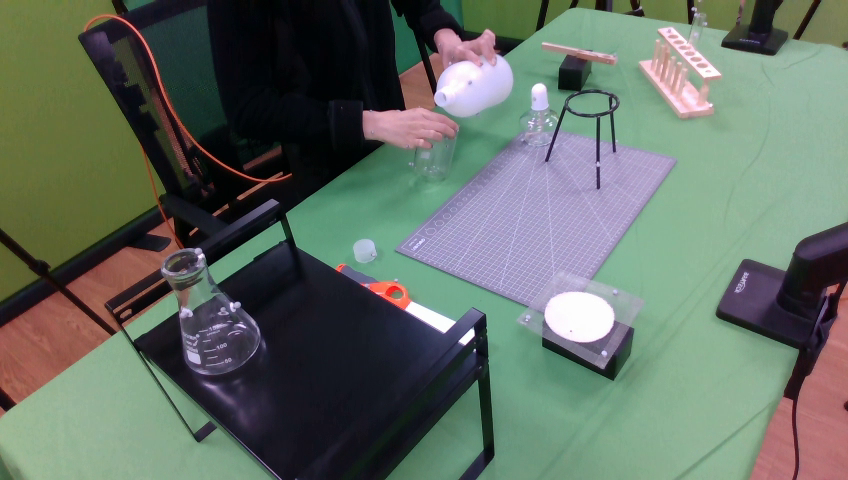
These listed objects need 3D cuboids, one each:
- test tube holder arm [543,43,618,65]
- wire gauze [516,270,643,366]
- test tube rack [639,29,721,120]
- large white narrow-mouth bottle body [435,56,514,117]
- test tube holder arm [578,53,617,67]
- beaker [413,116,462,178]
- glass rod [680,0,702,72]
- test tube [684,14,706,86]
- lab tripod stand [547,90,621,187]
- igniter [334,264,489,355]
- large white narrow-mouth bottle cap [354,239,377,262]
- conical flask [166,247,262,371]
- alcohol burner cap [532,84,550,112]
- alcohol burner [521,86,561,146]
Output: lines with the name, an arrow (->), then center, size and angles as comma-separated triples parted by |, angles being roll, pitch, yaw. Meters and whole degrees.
test tube holder arm -> 0.344, -0.413, 1.340 | 0.177, 0.015, 0.013 | 25, 51, 31
wire gauze -> 0.200, 0.093, 0.777 | 0.124, 0.011, 0.122 | 23, 49, 32
test tube rack -> 0.527, -0.351, 1.262 | 0.067, 0.085, 0.241 | -8, 40, 1
large white narrow-mouth bottle body -> 0.086, -0.285, 1.138 | 0.101, 0.102, 0.195 | 20, 32, 29
test tube holder arm -> 0.376, -0.393, 1.314 | 0.087, 0.015, 0.010 | 26, 51, 32
beaker -> 0.025, -0.171, 1.110 | 0.084, 0.100, 0.073 | -2, 23, -40
glass rod -> 0.542, -0.417, 1.233 | 0.008, 0.200, 0.008 | 1, 40, 0
test tube -> 0.540, -0.378, 1.215 | 0.017, 0.151, 0.017 | -2, 44, 3
lab tripod stand -> 0.289, -0.184, 1.062 | 0.148, 0.132, 0.147 | -6, 41, 6
igniter -> -0.030, 0.095, 0.871 | 0.274, 0.025, 0.057 | 22, 59, 31
large white narrow-mouth bottle cap -> -0.095, 0.017, 0.981 | 0.038, 0.024, 0.037 | -4, 40, 4
conical flask -> -0.208, 0.064, 0.584 | 0.075, 0.122, 0.075 | -5, 40, 4
alcohol burner cap -> 0.218, -0.268, 1.133 | 0.034, 0.048, 0.033 | -8, 36, 7
alcohol burner -> 0.223, -0.241, 1.155 | 0.078, 0.119, 0.077 | -5, 43, 5
